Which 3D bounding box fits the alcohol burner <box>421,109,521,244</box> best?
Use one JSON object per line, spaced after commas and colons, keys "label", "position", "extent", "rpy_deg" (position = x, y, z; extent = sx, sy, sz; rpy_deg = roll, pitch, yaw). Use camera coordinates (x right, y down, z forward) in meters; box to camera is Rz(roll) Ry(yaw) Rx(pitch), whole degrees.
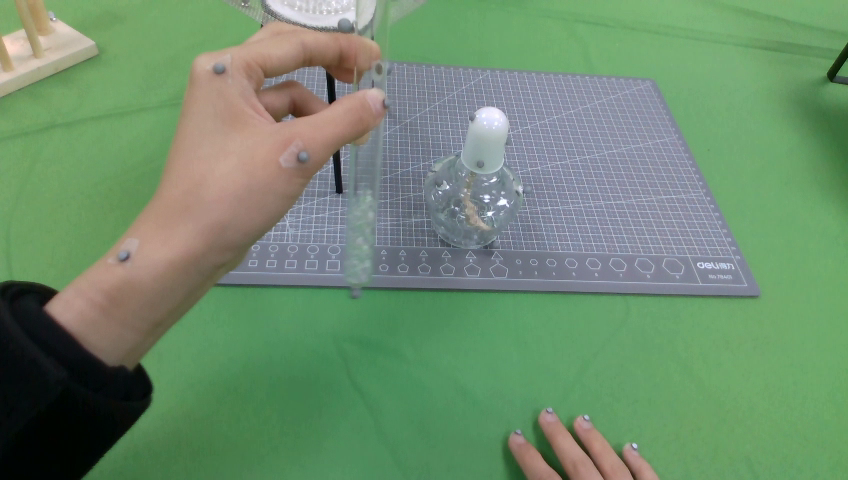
{"label": "alcohol burner", "position": [0.039, -0.053, 0.457], "extent": [0.078, 0.120, 0.077], "rpy_deg": [6, 49, -6]}

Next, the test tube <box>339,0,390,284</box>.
{"label": "test tube", "position": [-0.030, -0.046, 0.292], "extent": [0.017, 0.151, 0.017], "rpy_deg": [6, 24, -2]}

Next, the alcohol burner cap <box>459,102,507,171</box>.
{"label": "alcohol burner cap", "position": [0.043, -0.075, 0.429], "extent": [0.034, 0.048, 0.033], "rpy_deg": [2, 54, -2]}

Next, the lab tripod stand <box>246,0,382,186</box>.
{"label": "lab tripod stand", "position": [-0.084, -0.140, 0.499], "extent": [0.149, 0.132, 0.147], "rpy_deg": [6, 50, -6]}

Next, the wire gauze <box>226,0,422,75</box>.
{"label": "wire gauze", "position": [-0.079, -0.182, 0.450], "extent": [0.124, 0.011, 0.121], "rpy_deg": [35, 56, 15]}

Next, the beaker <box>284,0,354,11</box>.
{"label": "beaker", "position": [-0.077, -0.219, 0.416], "extent": [0.073, 0.101, 0.084], "rpy_deg": [40, 57, 22]}

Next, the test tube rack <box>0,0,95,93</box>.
{"label": "test tube rack", "position": [-0.413, -0.160, 0.501], "extent": [0.066, 0.086, 0.242], "rpy_deg": [32, 52, 18]}
